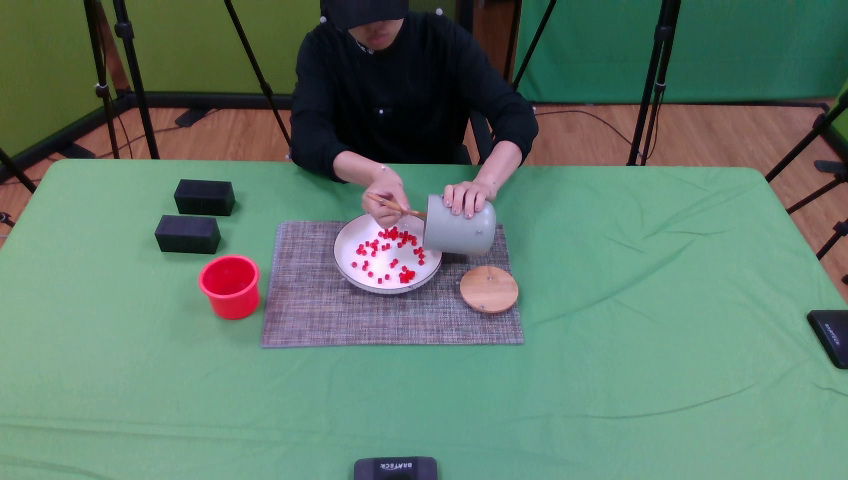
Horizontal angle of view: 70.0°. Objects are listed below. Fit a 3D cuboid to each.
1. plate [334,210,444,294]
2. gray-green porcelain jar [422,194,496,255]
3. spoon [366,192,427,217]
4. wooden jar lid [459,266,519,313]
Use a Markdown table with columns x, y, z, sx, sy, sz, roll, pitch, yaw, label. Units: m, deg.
| x | y | z | sx | sy | sz | roll | pitch | yaw | label |
| --- | --- | --- | --- | --- | --- | --- | --- | --- | --- |
| -0.066 | 0.026 | 1.150 | 0.208 | 0.039 | 0.206 | 2 | 46 | -2 | plate |
| 0.064 | -0.028 | 1.114 | 0.126 | 0.106 | 0.105 | 5 | 46 | -2 | gray-green porcelain jar |
| -0.016 | -0.052 | 1.089 | 0.194 | 0.022 | 0.041 | 14 | 36 | -23 | spoon |
| 0.118 | 0.093 | 1.111 | 0.108 | 0.021 | 0.107 | 1 | 47 | -1 | wooden jar lid |
